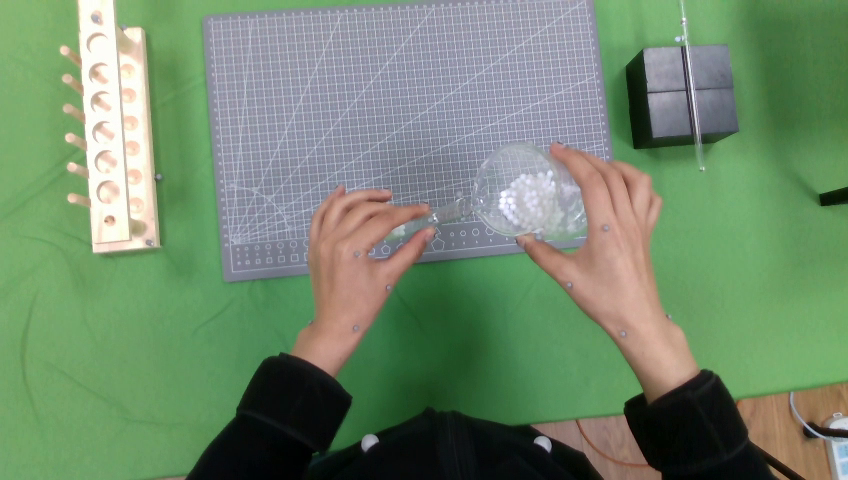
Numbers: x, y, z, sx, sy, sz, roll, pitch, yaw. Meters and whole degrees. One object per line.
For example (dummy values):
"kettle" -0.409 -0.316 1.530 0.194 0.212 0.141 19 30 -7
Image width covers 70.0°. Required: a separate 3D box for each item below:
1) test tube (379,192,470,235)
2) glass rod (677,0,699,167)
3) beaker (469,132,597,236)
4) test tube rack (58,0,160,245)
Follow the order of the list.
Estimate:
"test tube" -0.005 -0.022 0.558 0.017 0.149 0.017 5 80 -30
"glass rod" 0.290 -0.179 0.667 0.008 0.008 0.199 -4 86 -5
"beaker" 0.095 -0.041 0.509 0.084 0.101 0.073 -18 76 33
"test tube rack" -0.328 -0.120 0.621 0.067 0.085 0.242 -6 86 -5
